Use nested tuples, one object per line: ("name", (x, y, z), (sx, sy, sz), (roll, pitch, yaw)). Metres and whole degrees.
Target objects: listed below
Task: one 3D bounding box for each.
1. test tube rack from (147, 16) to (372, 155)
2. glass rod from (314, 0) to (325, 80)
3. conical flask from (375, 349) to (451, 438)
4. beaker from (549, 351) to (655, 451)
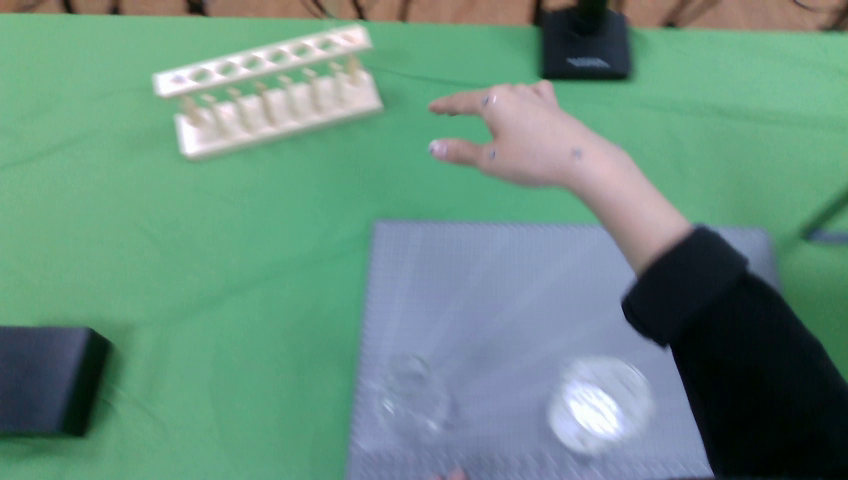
("test tube rack", (-0.191, -0.186, 0.731), (0.242, 0.086, 0.066), (-18, 65, -8))
("glass rod", (-0.120, -0.253, 0.689), (0.008, 0.201, 0.008), (2, 63, -4))
("conical flask", (-0.012, 0.133, 0.550), (0.075, 0.123, 0.074), (0, 63, 1))
("beaker", (0.154, 0.149, 0.554), (0.083, 0.101, 0.074), (36, 69, 18))
